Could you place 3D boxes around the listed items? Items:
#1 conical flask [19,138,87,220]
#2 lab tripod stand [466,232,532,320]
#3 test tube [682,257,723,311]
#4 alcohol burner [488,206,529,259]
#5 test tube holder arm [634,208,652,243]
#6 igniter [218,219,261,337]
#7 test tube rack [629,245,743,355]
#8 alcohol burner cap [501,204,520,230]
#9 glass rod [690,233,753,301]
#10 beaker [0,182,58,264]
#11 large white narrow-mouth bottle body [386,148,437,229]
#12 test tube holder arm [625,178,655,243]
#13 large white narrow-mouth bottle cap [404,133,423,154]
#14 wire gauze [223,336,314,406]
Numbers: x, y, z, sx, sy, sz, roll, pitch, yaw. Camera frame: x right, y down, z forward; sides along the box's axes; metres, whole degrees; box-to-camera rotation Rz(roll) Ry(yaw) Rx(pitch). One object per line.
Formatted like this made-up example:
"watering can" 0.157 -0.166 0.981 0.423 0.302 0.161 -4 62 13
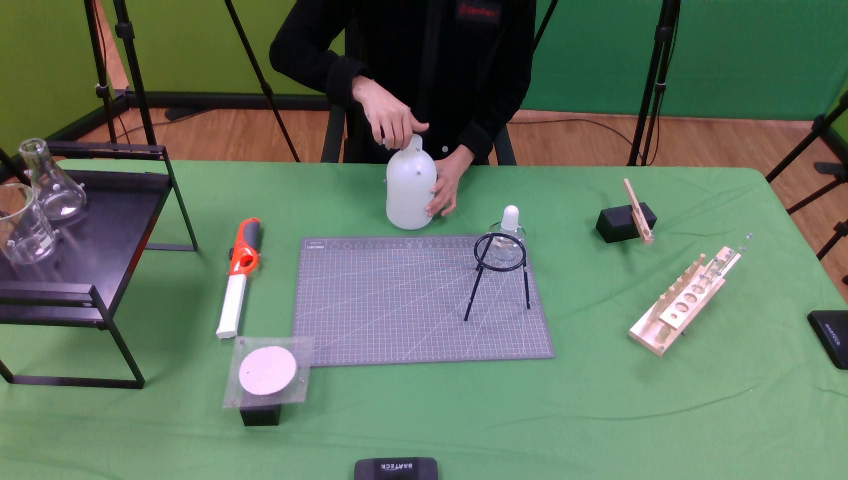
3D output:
"conical flask" -0.576 -0.097 0.930 0.075 0.122 0.075 2 46 -2
"lab tripod stand" 0.125 0.059 1.065 0.148 0.132 0.147 1 45 0
"test tube" 0.475 0.080 1.037 0.017 0.151 0.017 1 51 -1
"alcohol burner" 0.163 -0.020 1.158 0.078 0.120 0.077 0 47 0
"test tube holder arm" 0.428 -0.030 1.189 0.010 0.015 0.087 2 47 -3
"igniter" -0.336 0.060 1.111 0.057 0.025 0.274 -8 46 3
"test tube rack" 0.474 0.095 1.091 0.242 0.085 0.066 -34 56 -31
"alcohol burner cap" 0.164 -0.046 1.133 0.034 0.048 0.033 2 40 -2
"glass rod" 0.507 0.053 1.041 0.008 0.200 0.008 5 51 -6
"beaker" -0.582 -0.019 0.870 0.074 0.101 0.083 5 46 1
"large white narrow-mouth bottle body" -0.024 -0.119 1.190 0.102 0.195 0.101 2 46 -2
"test tube holder arm" 0.433 -0.062 1.220 0.013 0.015 0.177 1 47 -3
"large white narrow-mouth bottle cap" -0.019 -0.180 1.125 0.038 0.024 0.037 2 46 -2
"wire gauze" -0.237 0.197 0.931 0.121 0.011 0.124 1 45 -4
